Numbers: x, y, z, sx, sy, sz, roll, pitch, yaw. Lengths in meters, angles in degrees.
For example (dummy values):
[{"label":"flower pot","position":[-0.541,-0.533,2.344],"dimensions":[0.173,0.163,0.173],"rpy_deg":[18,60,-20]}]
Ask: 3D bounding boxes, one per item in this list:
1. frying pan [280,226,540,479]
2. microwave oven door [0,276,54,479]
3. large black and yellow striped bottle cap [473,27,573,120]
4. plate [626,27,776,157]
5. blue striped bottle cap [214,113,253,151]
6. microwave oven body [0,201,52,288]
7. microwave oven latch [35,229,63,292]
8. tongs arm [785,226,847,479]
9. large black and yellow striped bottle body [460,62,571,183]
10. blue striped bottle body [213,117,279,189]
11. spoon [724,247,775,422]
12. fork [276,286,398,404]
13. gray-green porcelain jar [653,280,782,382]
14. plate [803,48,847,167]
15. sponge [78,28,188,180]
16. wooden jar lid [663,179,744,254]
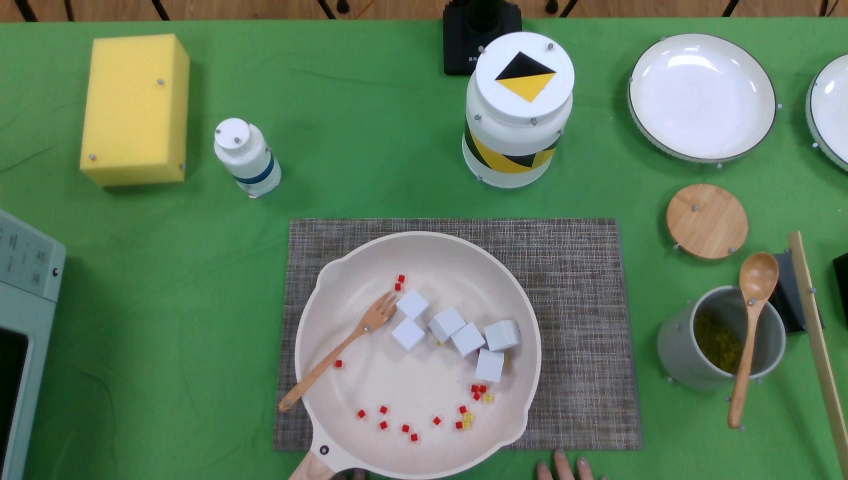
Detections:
[{"label":"frying pan","position":[-0.076,0.199,0.705],"dimensions":[0.305,0.103,0.487],"rpy_deg":[40,68,13]},{"label":"microwave oven door","position":[-0.495,0.203,0.617],"dimensions":[0.039,0.245,0.353],"rpy_deg":[0,72,1]},{"label":"large black and yellow striped bottle cap","position":[0.115,-0.195,0.704],"dimensions":[0.115,0.019,0.114],"rpy_deg":[0,74,1]},{"label":"plate","position":[0.393,-0.210,0.873],"dimensions":[0.208,0.039,0.206],"rpy_deg":[0,72,1]},{"label":"blue striped bottle cap","position":[-0.237,-0.135,0.752],"dimensions":[0.044,0.021,0.044],"rpy_deg":[0,74,0]},{"label":"microwave oven body","position":[-0.640,0.163,0.635],"dimensions":[0.326,0.261,0.439],"rpy_deg":[0,73,0]},{"label":"microwave oven latch","position":[-0.489,0.026,0.779],"dimensions":[0.030,0.029,0.078],"rpy_deg":[3,73,1]},{"label":"tongs arm","position":[0.492,0.170,0.715],"dimensions":[0.051,0.026,0.383],"rpy_deg":[-7,84,-5]},{"label":"large black and yellow striped bottle body","position":[0.115,-0.167,0.783],"dimensions":[0.131,0.185,0.130],"rpy_deg":[0,72,0]},{"label":"blue striped bottle body","position":[-0.236,-0.118,0.801],"dimensions":[0.063,0.121,0.062],"rpy_deg":[0,72,1]},{"label":"spoon","position":[0.346,0.100,0.654],"dimensions":[0.041,0.022,0.193],"rpy_deg":[17,77,1]},{"label":"fork","position":[-0.102,0.125,0.738],"dimensions":[0.028,0.019,0.207],"rpy_deg":[43,52,6]},{"label":"gray-green porcelain jar","position":[0.341,0.114,0.723],"dimensions":[0.106,0.127,0.105],"rpy_deg":[0,72,0]},{"label":"plate","position":[0.642,-0.180,0.861],"dimensions":[0.209,0.038,0.208],"rpy_deg":[0,72,0]},{"label":"sponge","position":[-0.406,-0.192,0.856],"dimensions":[0.118,0.061,0.205],"rpy_deg":[-5,73,-2]},{"label":"wooden jar lid","position":[0.378,-0.031,0.825],"dimensions":[0.108,0.021,0.108],"rpy_deg":[0,74,1]}]
